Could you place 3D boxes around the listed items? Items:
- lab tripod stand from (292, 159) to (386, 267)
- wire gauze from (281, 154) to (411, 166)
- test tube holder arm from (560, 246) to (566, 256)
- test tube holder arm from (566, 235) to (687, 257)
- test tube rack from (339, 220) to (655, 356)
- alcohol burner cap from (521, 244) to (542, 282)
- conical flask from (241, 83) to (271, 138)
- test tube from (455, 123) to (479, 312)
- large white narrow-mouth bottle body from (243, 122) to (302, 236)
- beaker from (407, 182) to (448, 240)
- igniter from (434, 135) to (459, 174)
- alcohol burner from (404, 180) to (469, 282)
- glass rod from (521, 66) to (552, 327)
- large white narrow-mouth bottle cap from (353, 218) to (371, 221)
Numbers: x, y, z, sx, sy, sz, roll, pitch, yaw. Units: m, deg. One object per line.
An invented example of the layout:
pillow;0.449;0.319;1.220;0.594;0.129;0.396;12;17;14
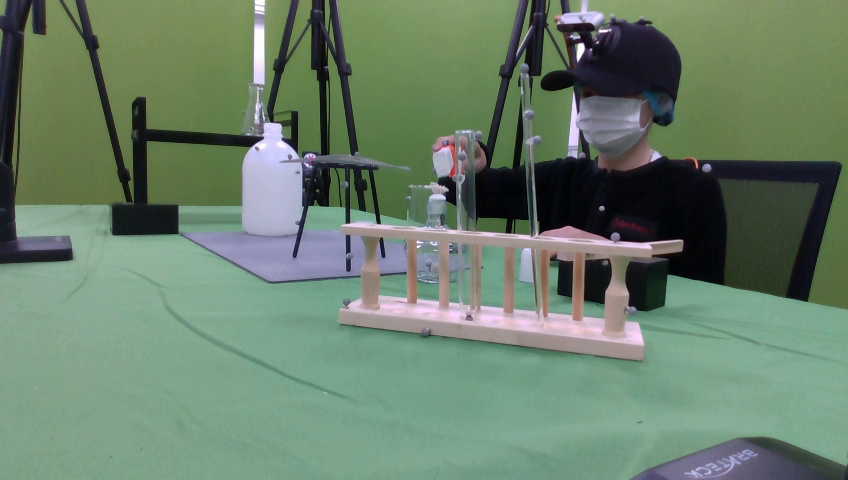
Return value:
lab tripod stand;-0.105;-0.039;0.797;0.148;0.131;0.148;2;5;0
wire gauze;-0.102;-0.105;0.785;0.121;0.011;0.126;7;8;43
test tube holder arm;0.173;0.007;0.611;0.088;0.015;0.010;-3;9;-30
test tube holder arm;0.215;0.006;0.630;0.179;0.015;0.013;-3;9;-30
test tube rack;0.056;0.032;0.495;0.242;0.085;0.067;4;7;15
alcohol burner cap;0.136;0.026;0.741;0.034;0.048;0.034;1;6;0
conical flask;-0.384;-0.297;1.393;0.075;0.122;0.075;2;7;0
test tube;0.034;-0.016;0.476;0.017;0.150;0.017;-2;10;1
large white narrow-mouth bottle body;-0.264;-0.109;1.061;0.102;0.194;0.102;2;8;0
beaker;0.008;-0.053;1.102;0.074;0.100;0.083;-6;12;-44
igniter;0.035;-0.120;0.863;0.025;0.057;0.276;-12;9;7
alcohol burner;0.015;-0.011;0.715;0.078;0.119;0.078;0;7;0
glass rod;0.085;-0.028;0.454;0.008;0.199;0.008;-7;10;2
large white narrow-mouth bottle cap;-0.120;-0.029;1.184;0.038;0.024;0.037;2;8;0
